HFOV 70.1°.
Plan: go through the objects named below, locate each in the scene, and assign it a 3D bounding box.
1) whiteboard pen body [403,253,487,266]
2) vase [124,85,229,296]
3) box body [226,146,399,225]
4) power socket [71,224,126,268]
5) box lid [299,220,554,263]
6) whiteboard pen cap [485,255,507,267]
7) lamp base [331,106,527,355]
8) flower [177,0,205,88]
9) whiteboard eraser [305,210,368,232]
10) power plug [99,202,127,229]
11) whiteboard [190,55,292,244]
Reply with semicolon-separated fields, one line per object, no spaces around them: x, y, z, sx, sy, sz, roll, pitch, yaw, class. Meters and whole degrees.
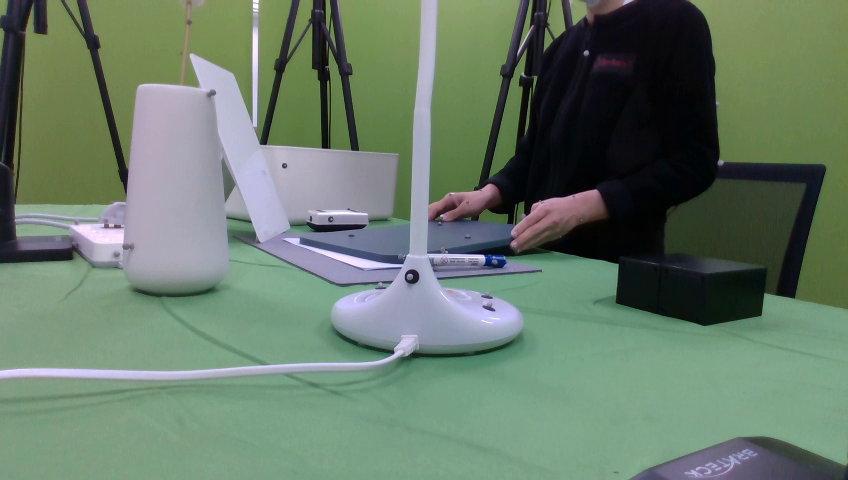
0.040;0.026;0.785;0.141;0.017;0.017;1;7;-24;whiteboard pen body
-0.244;-0.047;0.598;0.098;0.200;0.098;3;8;0;vase
-0.264;-0.129;1.380;0.253;0.160;0.366;8;9;39;box body
-0.409;0.004;0.793;0.072;0.032;0.225;-2;8;-37;power socket
0.009;-0.004;0.996;0.373;0.015;0.262;-8;11;-43;box lid
0.093;0.028;0.810;0.033;0.018;0.018;1;7;-24;whiteboard pen cap
0.006;-0.012;0.478;0.161;0.180;0.179;2;10;2;lamp base
-0.243;-0.131;0.609;0.044;0.361;0.038;-5;-12;11;flower
-0.168;-0.038;1.172;0.113;0.042;0.055;-3;8;-35;whiteboard eraser
-0.415;-0.026;0.848;0.073;0.052;0.035;6;5;-28;power plug
-0.363;-0.129;1.028;0.144;0.305;0.217;-18;7;3;whiteboard
